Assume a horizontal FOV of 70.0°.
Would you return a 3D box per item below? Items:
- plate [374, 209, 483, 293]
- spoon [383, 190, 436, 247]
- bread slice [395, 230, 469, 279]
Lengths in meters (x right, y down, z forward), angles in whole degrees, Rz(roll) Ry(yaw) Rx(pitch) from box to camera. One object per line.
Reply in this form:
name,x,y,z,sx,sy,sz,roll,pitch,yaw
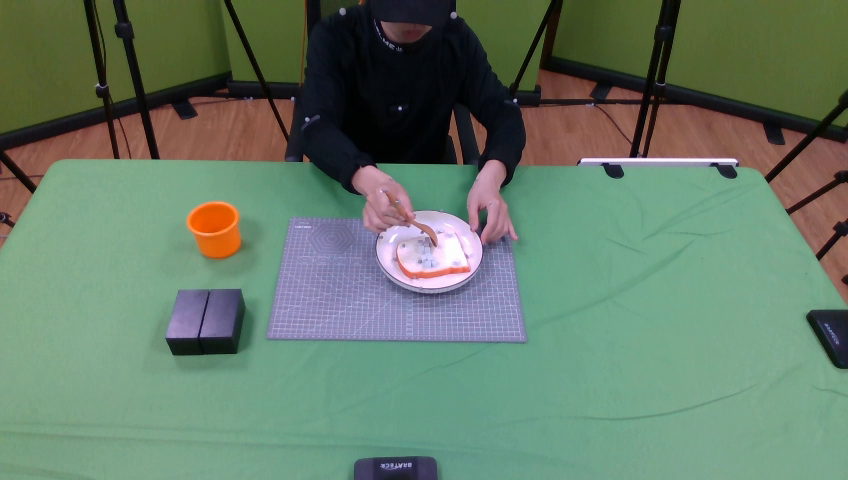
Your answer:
plate,0.009,0.024,1.160,0.209,0.038,0.208,2,46,-2
spoon,-0.024,-0.037,1.089,0.021,0.195,0.041,-37,52,11
bread slice,0.011,0.029,1.158,0.132,0.019,0.104,-9,48,-13
